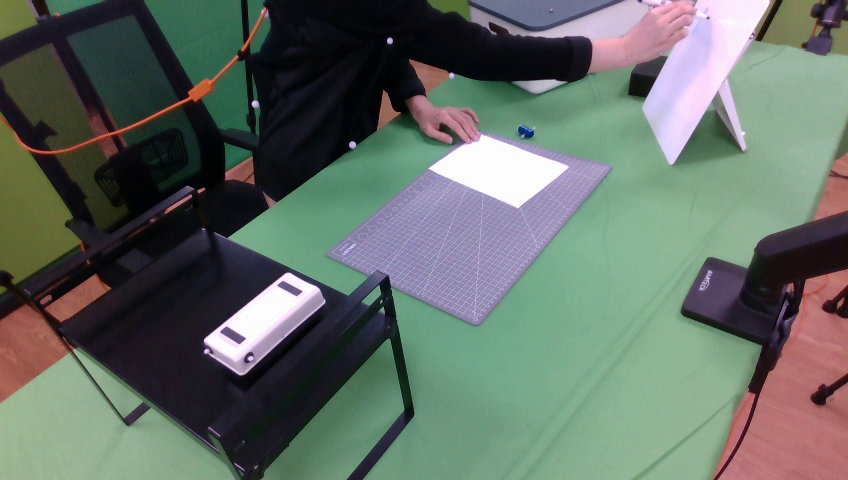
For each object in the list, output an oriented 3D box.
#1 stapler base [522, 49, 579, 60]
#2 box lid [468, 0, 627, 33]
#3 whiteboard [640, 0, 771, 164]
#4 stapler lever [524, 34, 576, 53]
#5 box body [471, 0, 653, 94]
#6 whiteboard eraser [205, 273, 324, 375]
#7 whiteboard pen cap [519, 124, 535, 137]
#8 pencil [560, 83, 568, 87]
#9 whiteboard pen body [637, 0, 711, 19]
[{"bbox_3d":[0.300,-0.441,1.433,0.130,0.024,0.041,3,22,18],"label":"stapler base"},{"bbox_3d":[0.312,-0.554,1.358,0.373,0.015,0.261,-26,44,-20],"label":"box lid"},{"bbox_3d":[0.543,-0.299,1.076,0.144,0.305,0.216,12,40,-7],"label":"whiteboard"},{"bbox_3d":[0.297,-0.462,1.424,0.117,0.040,0.027,5,23,17],"label":"stapler lever"},{"bbox_3d":[0.319,-0.498,1.405,0.365,0.161,0.252,-26,43,-21],"label":"box body"},{"bbox_3d":[-0.157,0.084,0.605,0.055,0.042,0.113,24,49,30],"label":"whiteboard eraser"},{"bbox_3d":[0.206,-0.218,1.205,0.018,0.018,0.033,-28,44,-22],"label":"whiteboard pen cap"},{"bbox_3d":[0.248,-0.393,1.398,0.193,0.012,0.012,32,53,24],"label":"pencil"},{"bbox_3d":[0.425,-0.394,1.025,0.141,0.017,0.017,9,39,-13],"label":"whiteboard pen body"}]
